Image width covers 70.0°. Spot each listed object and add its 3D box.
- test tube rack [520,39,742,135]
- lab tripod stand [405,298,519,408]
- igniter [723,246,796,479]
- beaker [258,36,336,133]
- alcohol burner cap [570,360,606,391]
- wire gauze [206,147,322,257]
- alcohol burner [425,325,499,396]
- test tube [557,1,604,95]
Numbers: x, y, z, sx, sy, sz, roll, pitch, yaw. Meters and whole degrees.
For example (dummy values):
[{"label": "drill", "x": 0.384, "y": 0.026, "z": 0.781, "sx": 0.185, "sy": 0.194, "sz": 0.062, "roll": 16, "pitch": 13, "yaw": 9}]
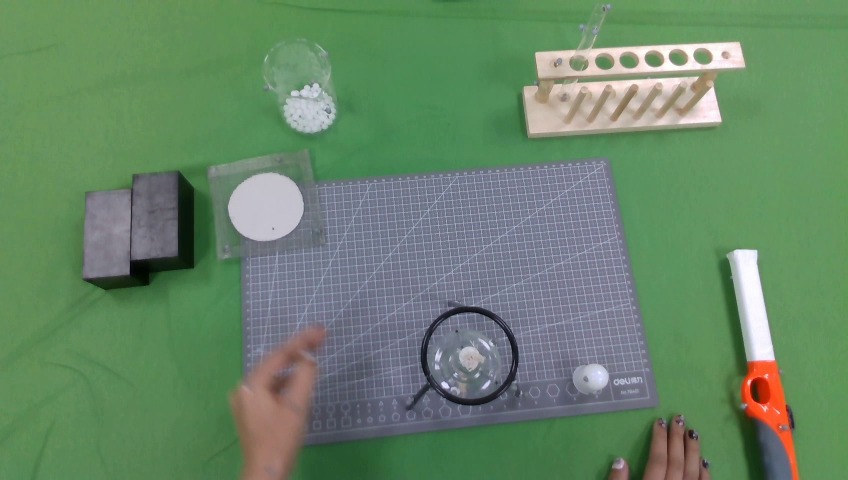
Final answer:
[{"label": "test tube rack", "x": 0.246, "y": -0.183, "z": 0.732, "sx": 0.242, "sy": 0.085, "sz": 0.066, "roll": -4, "pitch": 74, "yaw": -3}, {"label": "lab tripod stand", "x": 0.036, "y": 0.117, "z": 0.610, "sx": 0.148, "sy": 0.132, "sz": 0.147, "roll": 0, "pitch": 73, "yaw": 0}, {"label": "igniter", "x": 0.371, "y": 0.141, "z": 0.674, "sx": 0.057, "sy": 0.025, "sz": 0.275, "roll": 2, "pitch": 74, "yaw": -12}, {"label": "beaker", "x": -0.141, "y": -0.175, "z": 0.708, "sx": 0.074, "sy": 0.100, "sz": 0.083, "roll": -35, "pitch": 78, "yaw": -11}, {"label": "alcohol burner cap", "x": 0.180, "y": 0.145, "z": 0.655, "sx": 0.034, "sy": 0.048, "sz": 0.033, "roll": 0, "pitch": 73, "yaw": 0}, {"label": "wire gauze", "x": -0.190, "y": -0.046, "z": 0.713, "sx": 0.125, "sy": 0.011, "sz": 0.120, "roll": -11, "pitch": 74, "yaw": -4}, {"label": "alcohol burner", "x": 0.041, "y": 0.123, "z": 0.619, "sx": 0.078, "sy": 0.119, "sz": 0.077, "roll": 1, "pitch": 72, "yaw": -2}, {"label": "test tube", "x": 0.174, "y": -0.211, "z": 0.686, "sx": 0.017, "sy": 0.151, "sz": 0.017, "roll": 1, "pitch": 69, "yaw": -1}]
